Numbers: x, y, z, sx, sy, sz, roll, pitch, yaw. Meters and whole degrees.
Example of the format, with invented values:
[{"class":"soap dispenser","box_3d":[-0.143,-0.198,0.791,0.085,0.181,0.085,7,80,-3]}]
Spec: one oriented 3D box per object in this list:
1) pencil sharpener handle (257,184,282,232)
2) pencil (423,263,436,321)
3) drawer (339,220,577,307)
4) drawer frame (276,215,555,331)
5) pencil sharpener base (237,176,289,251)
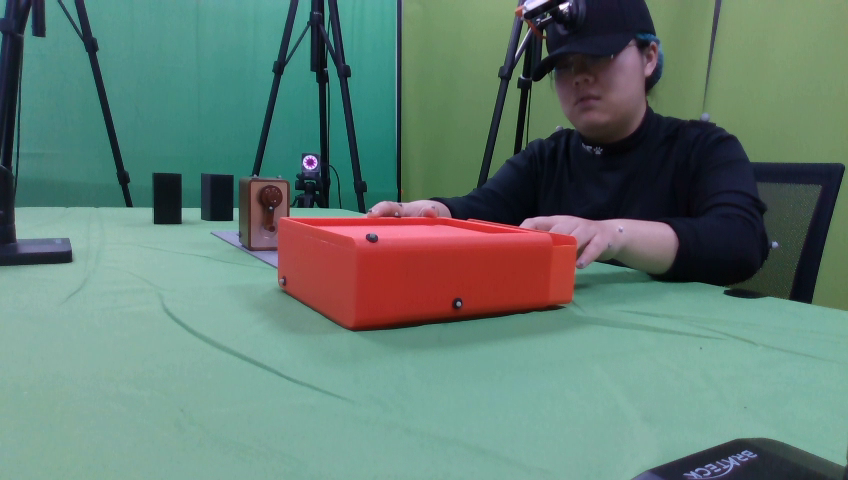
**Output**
[{"class":"pencil sharpener handle","box_3d":[-0.220,-0.046,0.865,0.036,0.067,0.030,7,4,-29]},{"class":"pencil","box_3d":[0.005,0.051,0.631,0.012,0.012,0.194,3,12,1]},{"class":"drawer","box_3d":[0.015,0.022,0.629,0.213,0.073,0.193,-2,9,-31]},{"class":"drawer frame","box_3d":[-0.015,0.022,0.610,0.215,0.082,0.200,-2,9,-32]},{"class":"pencil sharpener base","box_3d":[-0.243,-0.040,0.911,0.061,0.107,0.076,-1,8,-28]}]
